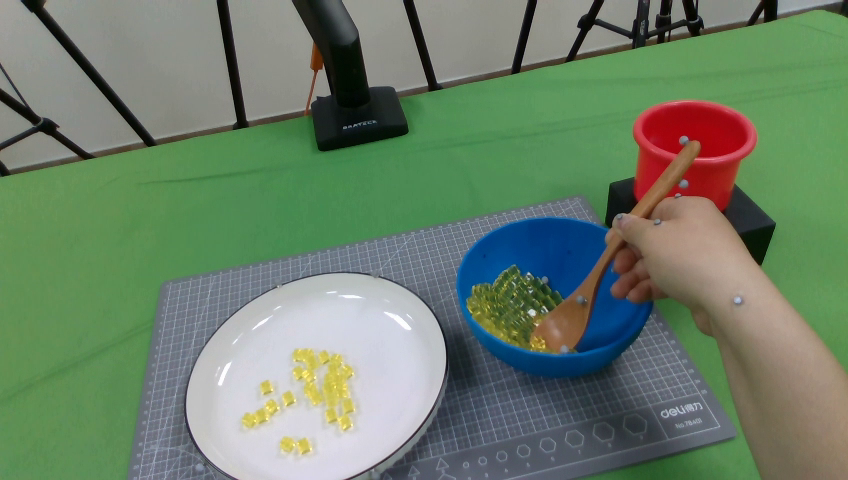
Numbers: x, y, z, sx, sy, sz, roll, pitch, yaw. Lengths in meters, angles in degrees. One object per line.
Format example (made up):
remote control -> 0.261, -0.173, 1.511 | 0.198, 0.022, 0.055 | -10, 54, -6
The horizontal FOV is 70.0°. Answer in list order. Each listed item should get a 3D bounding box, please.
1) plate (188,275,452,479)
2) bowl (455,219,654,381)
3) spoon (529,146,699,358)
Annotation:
plate -> -0.080, 0.114, 0.490 | 0.207, 0.039, 0.205 | -4, 42, 4
bowl -> 0.102, 0.060, 0.490 | 0.151, 0.077, 0.150 | -4, 42, 4
spoon -> 0.139, 0.013, 0.444 | 0.022, 0.194, 0.041 | 24, 15, -28
